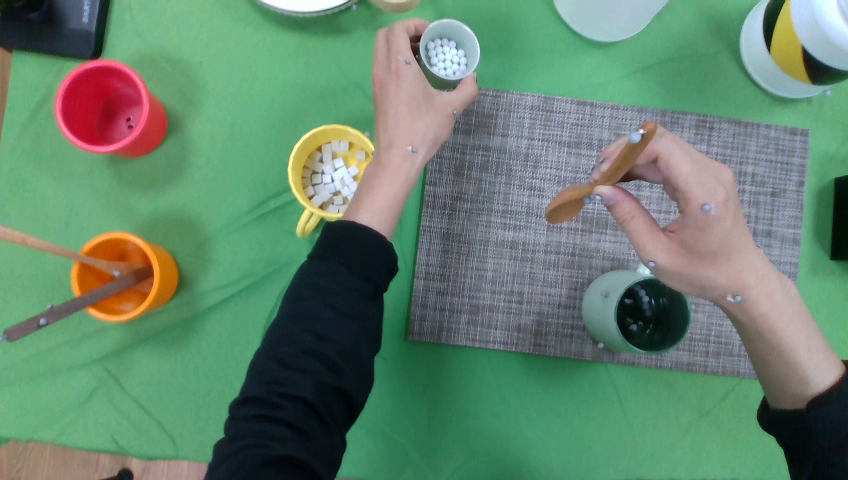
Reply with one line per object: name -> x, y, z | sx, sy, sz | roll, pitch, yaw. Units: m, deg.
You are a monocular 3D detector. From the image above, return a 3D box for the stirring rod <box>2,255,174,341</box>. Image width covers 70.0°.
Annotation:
stirring rod -> -0.338, 0.056, 0.624 | 0.176, 0.006, 0.014 | -33, 90, -45

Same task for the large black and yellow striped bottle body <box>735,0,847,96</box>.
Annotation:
large black and yellow striped bottle body -> 0.438, -0.240, 0.642 | 0.131, 0.184, 0.130 | 0, 87, -1

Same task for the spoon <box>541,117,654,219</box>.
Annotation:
spoon -> 0.115, -0.042, 0.409 | 0.041, 0.194, 0.021 | -22, 84, -6

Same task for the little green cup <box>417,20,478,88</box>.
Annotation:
little green cup -> 0.021, -0.186, 0.616 | 0.062, 0.038, 0.061 | 2, 82, -11

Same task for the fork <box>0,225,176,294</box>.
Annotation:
fork -> -0.355, 0.016, 0.619 | 0.209, 0.018, 0.028 | 28, 82, -44

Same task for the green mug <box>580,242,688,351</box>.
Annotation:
green mug -> 0.232, 0.060, 0.659 | 0.092, 0.105, 0.125 | 23, 87, 0

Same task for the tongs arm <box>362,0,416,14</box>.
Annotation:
tongs arm -> -0.179, -0.357, 0.664 | 0.384, 0.026, 0.050 | 35, 84, 2

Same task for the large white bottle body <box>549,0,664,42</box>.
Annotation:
large white bottle body -> 0.211, -0.303, 0.635 | 0.131, 0.184, 0.130 | 0, 87, -1

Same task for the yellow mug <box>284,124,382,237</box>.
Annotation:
yellow mug -> -0.107, -0.059, 0.673 | 0.100, 0.064, 0.131 | 32, 88, -1

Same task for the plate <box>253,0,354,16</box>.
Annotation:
plate -> -0.138, -0.357, 0.697 | 0.208, 0.039, 0.207 | 0, 88, -2

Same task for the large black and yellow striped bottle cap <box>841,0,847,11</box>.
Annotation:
large black and yellow striped bottle cap -> 0.440, -0.246, 0.558 | 0.115, 0.019, 0.115 | 0, 88, -3
